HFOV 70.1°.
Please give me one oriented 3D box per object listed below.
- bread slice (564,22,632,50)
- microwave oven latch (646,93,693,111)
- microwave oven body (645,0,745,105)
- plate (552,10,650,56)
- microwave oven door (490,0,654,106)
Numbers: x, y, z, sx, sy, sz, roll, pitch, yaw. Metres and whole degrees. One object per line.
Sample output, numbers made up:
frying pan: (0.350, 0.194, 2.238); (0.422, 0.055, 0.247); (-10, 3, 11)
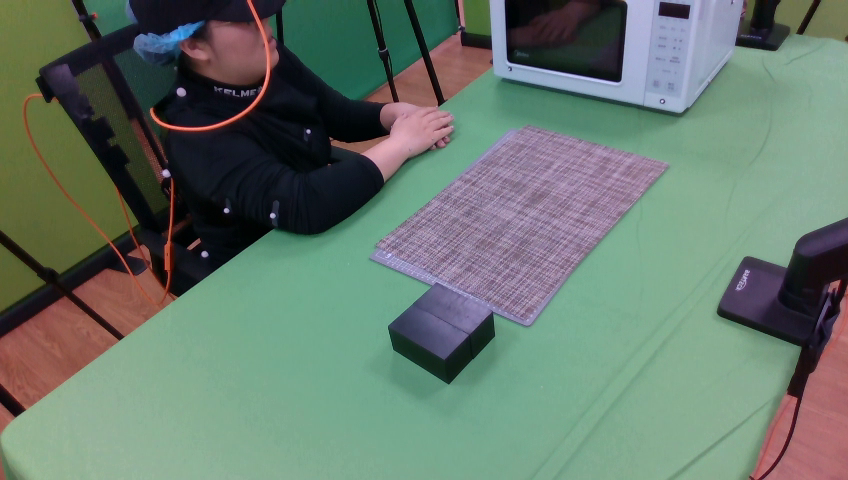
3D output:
bread slice: (0.394, -0.454, 1.344); (0.105, 0.019, 0.130); (-35, 43, -26)
microwave oven latch: (0.477, -0.273, 1.177); (0.078, 0.029, 0.030); (22, 50, 33)
microwave oven body: (0.416, -0.486, 1.290); (0.438, 0.261, 0.327); (21, 50, 33)
plate: (0.390, -0.455, 1.339); (0.209, 0.038, 0.208); (-6, 39, 5)
microwave oven door: (0.293, -0.420, 1.228); (0.353, 0.245, 0.039); (22, 49, 32)
